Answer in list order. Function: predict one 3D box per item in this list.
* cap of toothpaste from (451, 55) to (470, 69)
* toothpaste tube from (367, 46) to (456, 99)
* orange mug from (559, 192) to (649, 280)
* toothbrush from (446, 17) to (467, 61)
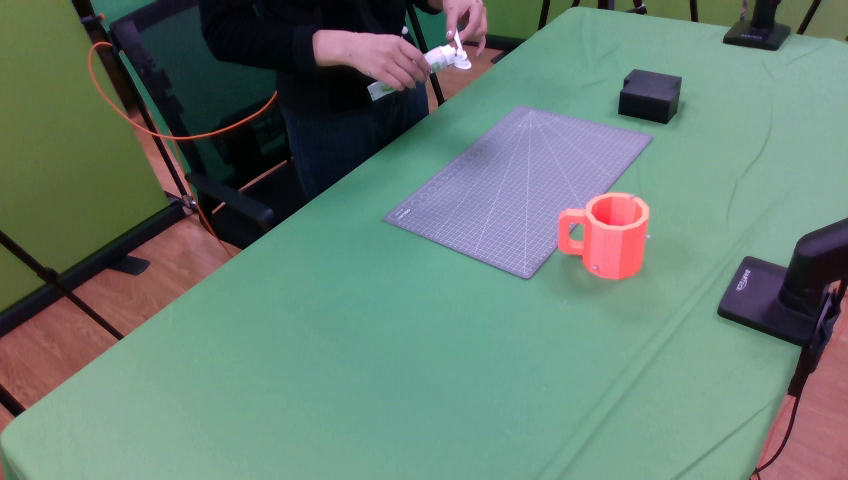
[{"bbox_3d":[0.064,-0.313,1.061,0.037,0.011,0.037,8,43,-7],"label":"cap of toothpaste"},{"bbox_3d":[-0.020,-0.289,1.041,0.165,0.055,0.034,-25,73,-2],"label":"toothpaste tube"},{"bbox_3d":[0.261,-0.008,0.884,0.126,0.101,0.083,9,43,14],"label":"orange mug"},{"bbox_3d":[0.056,-0.372,1.104,0.014,0.017,0.180,-38,35,22],"label":"toothbrush"}]
